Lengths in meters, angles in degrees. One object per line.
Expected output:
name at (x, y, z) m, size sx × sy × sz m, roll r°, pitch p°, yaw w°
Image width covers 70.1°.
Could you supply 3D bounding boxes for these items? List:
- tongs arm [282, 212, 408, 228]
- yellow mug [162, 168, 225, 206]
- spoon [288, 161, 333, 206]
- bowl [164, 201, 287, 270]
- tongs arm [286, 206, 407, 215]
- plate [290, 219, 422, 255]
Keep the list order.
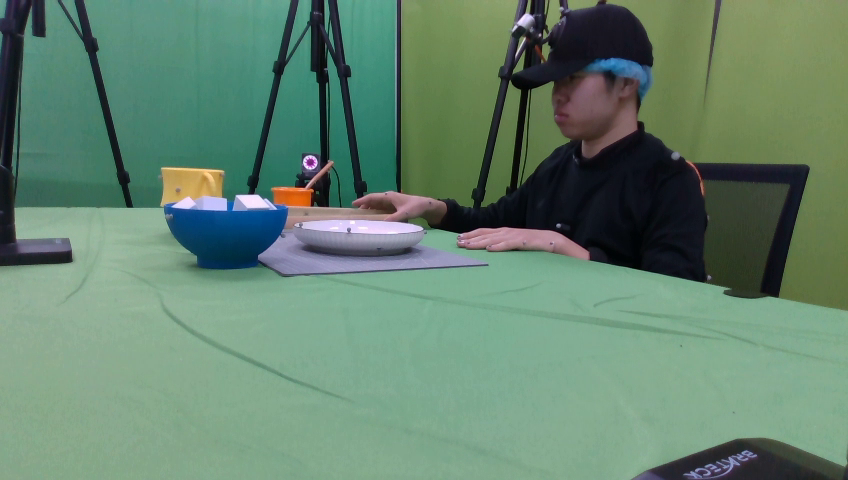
tongs arm at (-0.178, -0.040, 1.216) m, size 0.390 × 0.028 × 0.028 m, roll -3°, pitch 8°, yaw -40°
yellow mug at (-0.383, -0.087, 1.026) m, size 0.130 × 0.064 × 0.100 m, roll 11°, pitch 11°, yaw 44°
spoon at (-0.262, -0.115, 1.359) m, size 0.041 × 0.194 × 0.022 m, roll 13°, pitch -33°, yaw 38°
bowl at (-0.254, -0.006, 0.782) m, size 0.151 × 0.077 × 0.151 m, roll 2°, pitch 8°, yaw 0°
tongs arm at (-0.218, -0.055, 1.279) m, size 0.387 × 0.026 × 0.050 m, roll 0°, pitch 10°, yaw -29°
plate at (-0.108, -0.005, 0.963) m, size 0.208 × 0.039 × 0.207 m, roll 3°, pitch 7°, yaw 0°
